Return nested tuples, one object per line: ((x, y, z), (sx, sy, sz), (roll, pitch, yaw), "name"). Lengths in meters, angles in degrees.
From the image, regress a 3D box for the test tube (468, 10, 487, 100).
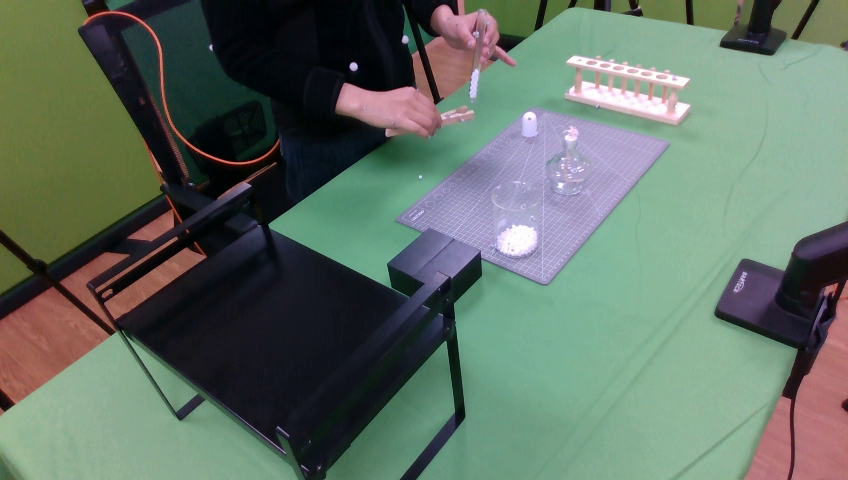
((0.091, -0.316, 1.041), (0.017, 0.150, 0.017), (4, 29, -2), "test tube")

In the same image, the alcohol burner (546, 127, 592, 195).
((0.246, -0.137, 1.024), (0.078, 0.119, 0.077), (-4, 38, 4), "alcohol burner")

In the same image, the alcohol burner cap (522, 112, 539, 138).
((0.210, -0.230, 1.195), (0.034, 0.048, 0.033), (-6, 41, 5), "alcohol burner cap")

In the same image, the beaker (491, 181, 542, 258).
((0.144, -0.030, 0.925), (0.073, 0.101, 0.084), (23, 48, 31), "beaker")

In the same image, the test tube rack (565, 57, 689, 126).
((0.412, -0.311, 1.230), (0.240, 0.085, 0.067), (24, 49, 32), "test tube rack")

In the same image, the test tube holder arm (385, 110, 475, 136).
((0.013, -0.206, 1.054), (0.179, 0.015, 0.013), (-18, 49, -28), "test tube holder arm")

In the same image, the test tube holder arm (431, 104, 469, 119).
((0.046, -0.223, 1.079), (0.088, 0.015, 0.010), (-28, 55, -34), "test tube holder arm")
